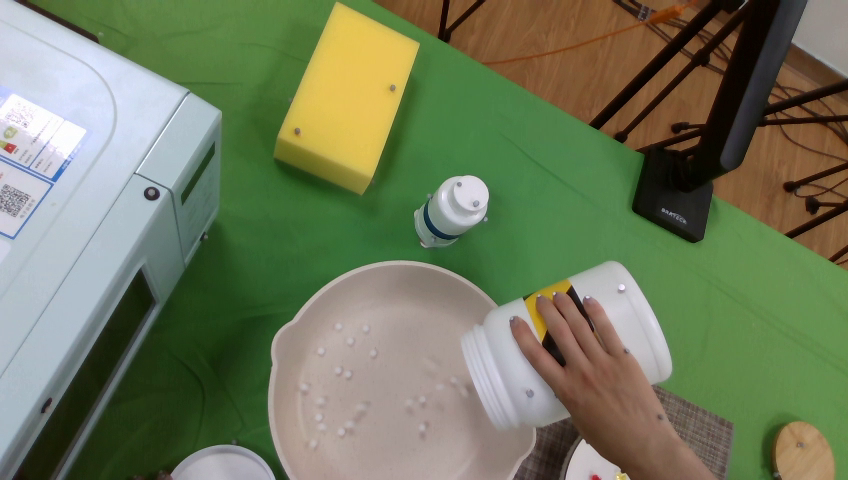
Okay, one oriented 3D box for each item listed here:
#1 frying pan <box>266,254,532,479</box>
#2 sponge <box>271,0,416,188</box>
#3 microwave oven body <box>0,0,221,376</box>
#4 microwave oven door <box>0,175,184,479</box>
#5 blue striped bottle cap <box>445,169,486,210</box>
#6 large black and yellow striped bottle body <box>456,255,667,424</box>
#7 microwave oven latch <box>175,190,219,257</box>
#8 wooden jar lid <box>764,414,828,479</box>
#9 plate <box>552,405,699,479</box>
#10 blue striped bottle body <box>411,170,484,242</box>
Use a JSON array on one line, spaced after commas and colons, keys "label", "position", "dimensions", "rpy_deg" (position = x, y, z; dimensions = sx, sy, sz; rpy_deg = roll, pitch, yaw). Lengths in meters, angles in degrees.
[{"label": "frying pan", "position": [-0.058, 0.248, 0.623], "dimensions": [0.308, 0.103, 0.484], "rpy_deg": [25, 60, -9]}, {"label": "sponge", "position": [-0.098, -0.184, 0.757], "dimensions": [0.119, 0.061, 0.205], "rpy_deg": [21, 69, -12]}, {"label": "microwave oven body", "position": [-0.413, 0.036, 0.468], "dimensions": [0.327, 0.260, 0.439], "rpy_deg": [27, 68, -11]}, {"label": "microwave oven door", "position": [-0.298, 0.136, 0.475], "dimensions": [0.039, 0.244, 0.354], "rpy_deg": [26, 67, -10]}, {"label": "blue striped bottle cap", "position": [0.047, -0.058, 0.685], "dimensions": [0.045, 0.020, 0.044], "rpy_deg": [5, 75, -18]}, {"label": "large black and yellow striped bottle body", "position": [0.138, 0.108, 0.630], "dimensions": [0.184, 0.131, 0.130], "rpy_deg": [-24, 82, 7]}, {"label": "microwave oven latch", "position": [-0.250, -0.023, 0.650], "dimensions": [0.030, 0.029, 0.079], "rpy_deg": [29, 68, -10]}, {"label": "wooden jar lid", "position": [0.530, 0.305, 0.867], "dimensions": [0.109, 0.021, 0.108], "rpy_deg": [5, 74, -18]}, {"label": "plate", "position": [0.247, 0.312, 0.749], "dimensions": [0.210, 0.038, 0.208], "rpy_deg": [6, 73, -18]}, {"label": "blue striped bottle body", "position": [0.031, -0.043, 0.731], "dimensions": [0.063, 0.121, 0.062], "rpy_deg": [5, 73, -18]}]
